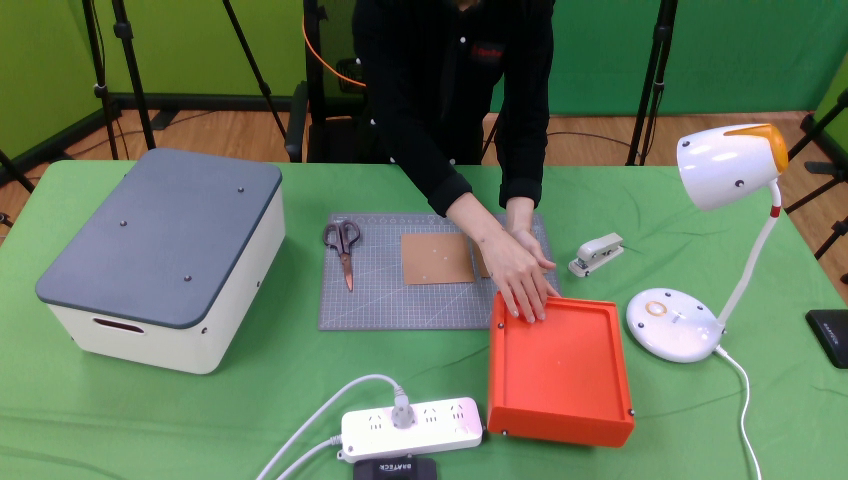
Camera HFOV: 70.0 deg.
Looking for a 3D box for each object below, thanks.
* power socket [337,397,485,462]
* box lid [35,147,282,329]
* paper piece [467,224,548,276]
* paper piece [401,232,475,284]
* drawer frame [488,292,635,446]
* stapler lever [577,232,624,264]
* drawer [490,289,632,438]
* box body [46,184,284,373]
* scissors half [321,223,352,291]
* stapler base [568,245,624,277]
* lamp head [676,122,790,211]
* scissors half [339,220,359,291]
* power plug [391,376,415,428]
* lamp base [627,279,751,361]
[{"bbox_3d":[-0.018,0.285,0.915,0.227,0.033,0.071,-5,46,-8],"label":"power socket"},{"bbox_3d":[-0.411,-0.023,0.987,0.263,0.015,0.369,10,47,5],"label":"box lid"},{"bbox_3d":[0.163,0.019,1.199,0.136,0.009,0.137,-1,45,-10],"label":"paper piece"},{"bbox_3d":[0.025,0.032,1.175,0.135,0.004,0.135,-1,45,-4],"label":"paper piece"},{"bbox_3d":[0.204,0.191,0.932,0.202,0.083,0.212,6,45,2],"label":"drawer frame"},{"bbox_3d":[0.345,0.010,1.178,0.118,0.040,0.026,-26,57,-28],"label":"stapler lever"},{"bbox_3d":[0.203,0.185,0.934,0.194,0.073,0.210,7,47,1],"label":"drawer"},{"bbox_3d":[-0.414,0.029,1.040,0.254,0.161,0.362,10,46,5],"label":"box body"},{"bbox_3d":[-0.163,0.031,1.160,0.040,0.013,0.174,-17,51,-14],"label":"scissors half"},{"bbox_3d":[0.341,0.029,1.195,0.130,0.024,0.041,-26,57,-28],"label":"stapler base"},{"bbox_3d":[0.423,-0.104,0.819,0.122,0.113,0.112,-13,33,40],"label":"lamp head"},{"bbox_3d":[-0.144,0.026,1.162,0.040,0.013,0.174,-7,50,1],"label":"scissors half"},{"bbox_3d":[-0.031,0.249,0.917,0.035,0.053,0.072,3,46,-1],"label":"power plug"},{"bbox_3d":[0.460,0.100,1.027,0.178,0.181,0.160,27,51,17],"label":"lamp base"}]
